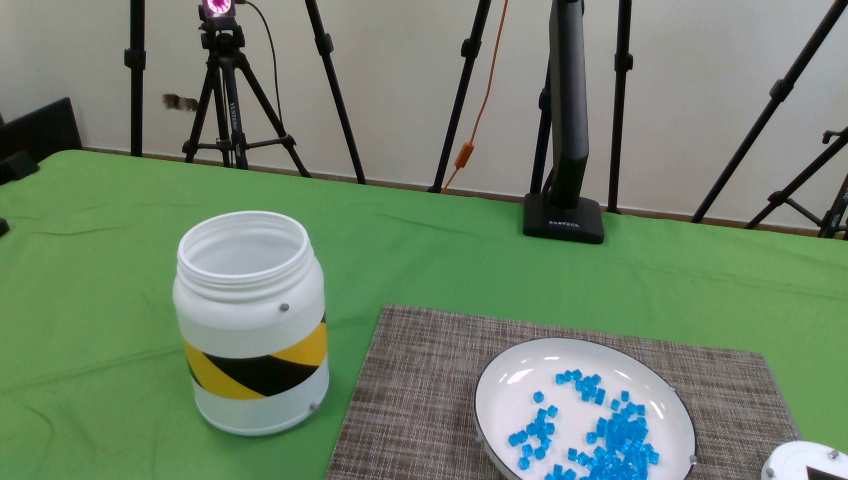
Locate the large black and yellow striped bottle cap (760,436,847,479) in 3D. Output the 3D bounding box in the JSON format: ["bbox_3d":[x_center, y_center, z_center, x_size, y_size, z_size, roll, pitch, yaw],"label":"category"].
[{"bbox_3d":[0.364,0.227,0.542,0.115,0.019,0.114,6,35,-4],"label":"large black and yellow striped bottle cap"}]

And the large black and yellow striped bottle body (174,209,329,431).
[{"bbox_3d":[-0.160,0.075,0.576,0.131,0.185,0.129,2,33,-1],"label":"large black and yellow striped bottle body"}]

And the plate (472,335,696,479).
[{"bbox_3d":[0.148,0.174,0.582,0.208,0.039,0.205,3,33,-1],"label":"plate"}]
